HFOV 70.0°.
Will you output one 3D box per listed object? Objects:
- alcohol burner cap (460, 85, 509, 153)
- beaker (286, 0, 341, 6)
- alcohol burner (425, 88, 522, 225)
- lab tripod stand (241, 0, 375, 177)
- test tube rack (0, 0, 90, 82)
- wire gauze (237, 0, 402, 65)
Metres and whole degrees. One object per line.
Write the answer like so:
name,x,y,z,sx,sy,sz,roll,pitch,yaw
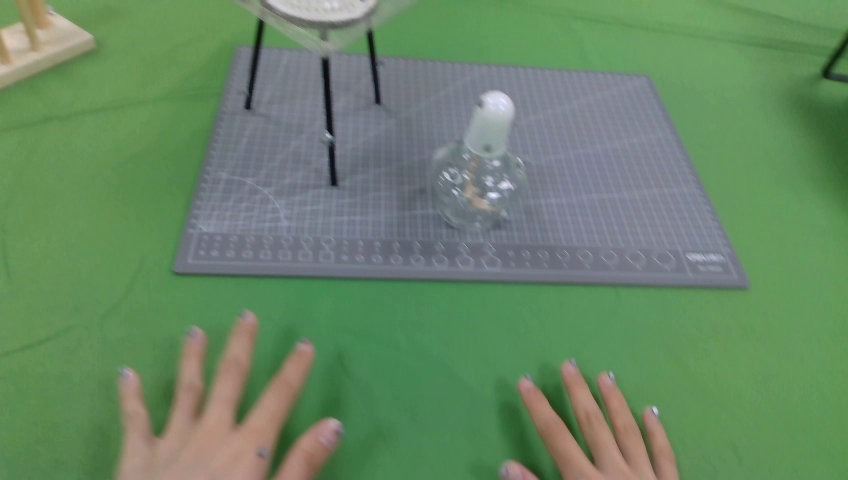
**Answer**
alcohol burner cap,0.046,-0.090,0.442,0.034,0.048,0.033,4,54,-6
beaker,-0.082,-0.223,0.417,0.084,0.101,0.073,-2,51,-11
alcohol burner,0.042,-0.068,0.470,0.078,0.120,0.077,6,48,-6
lab tripod stand,-0.090,-0.147,0.503,0.149,0.132,0.147,6,50,-7
test tube rack,-0.419,-0.168,0.503,0.066,0.086,0.242,32,52,18
wire gauze,-0.084,-0.190,0.454,0.124,0.011,0.121,35,56,14
